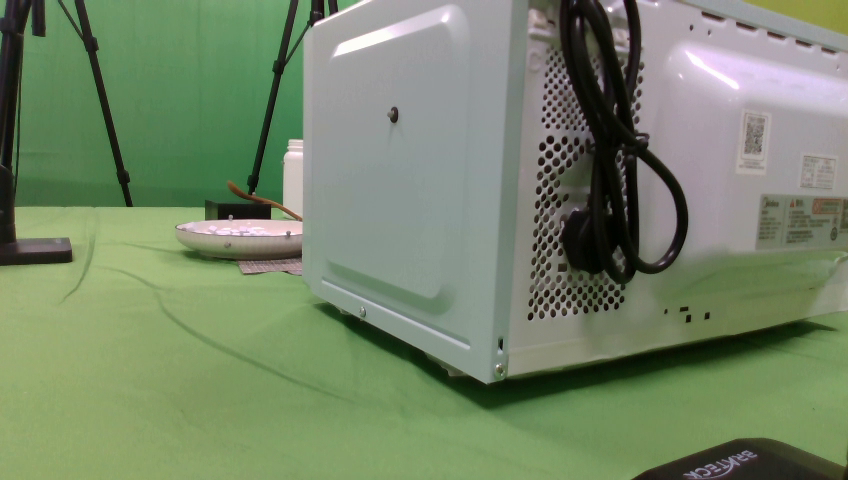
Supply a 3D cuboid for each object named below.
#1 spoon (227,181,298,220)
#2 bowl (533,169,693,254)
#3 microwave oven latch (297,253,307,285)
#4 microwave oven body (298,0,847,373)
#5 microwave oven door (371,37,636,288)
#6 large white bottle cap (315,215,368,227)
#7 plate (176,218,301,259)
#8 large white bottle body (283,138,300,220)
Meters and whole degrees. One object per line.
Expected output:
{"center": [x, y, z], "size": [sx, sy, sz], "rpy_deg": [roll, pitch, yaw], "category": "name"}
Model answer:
{"center": [-0.315, -0.074, 1.234], "size": [0.195, 0.021, 0.041], "rpy_deg": [24, -9, -37], "category": "spoon"}
{"center": [0.181, -0.030, 0.596], "size": [0.151, 0.077, 0.151], "rpy_deg": [1, 7, 0], "category": "bowl"}
{"center": [-0.082, 0.027, 0.582], "size": [0.079, 0.029, 0.030], "rpy_deg": [-1, 7, -32], "category": "microwave oven latch"}
{"center": [0.151, -0.055, 0.543], "size": [0.444, 0.260, 0.324], "rpy_deg": [-1, 7, -33], "category": "microwave oven body"}
{"center": [0.109, -0.080, 0.686], "size": [0.358, 0.243, 0.039], "rpy_deg": [-2, 9, -33], "category": "microwave oven door"}
{"center": [-0.178, -0.041, 1.308], "size": [0.115, 0.018, 0.115], "rpy_deg": [2, 6, 0], "category": "large white bottle cap"}
{"center": [-0.248, -0.003, 0.877], "size": [0.209, 0.038, 0.209], "rpy_deg": [1, 8, 0], "category": "plate"}
{"center": [-0.265, -0.143, 1.424], "size": [0.131, 0.184, 0.130], "rpy_deg": [2, 7, 0], "category": "large white bottle body"}
